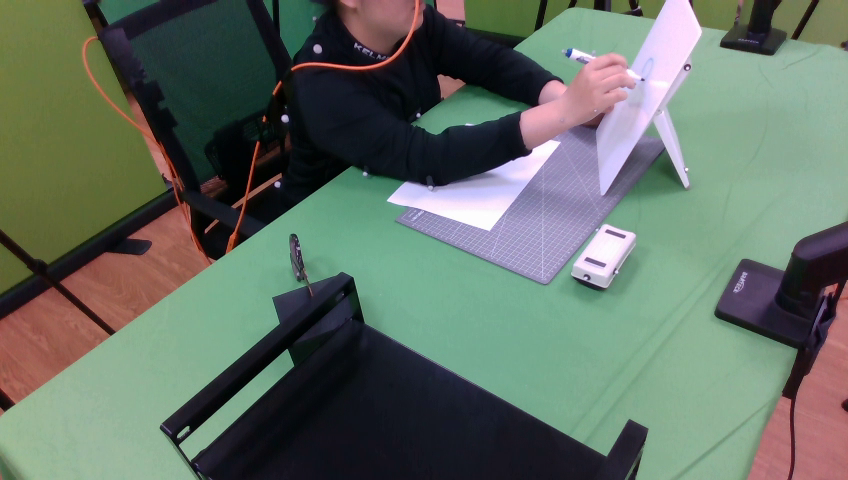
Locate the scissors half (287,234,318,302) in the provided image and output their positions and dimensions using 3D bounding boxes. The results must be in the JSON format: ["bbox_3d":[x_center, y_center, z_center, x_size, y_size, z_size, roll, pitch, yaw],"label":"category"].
[{"bbox_3d":[-0.178,0.040,0.885,0.013,0.040,0.173,-12,36,-20],"label":"scissors half"}]

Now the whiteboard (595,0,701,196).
[{"bbox_3d":[0.421,-0.227,1.010,0.144,0.305,0.216,18,42,-2],"label":"whiteboard"}]

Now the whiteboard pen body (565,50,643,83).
[{"bbox_3d":[0.295,-0.280,0.983,0.141,0.017,0.017,16,40,-11],"label":"whiteboard pen body"}]

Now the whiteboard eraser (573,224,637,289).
[{"bbox_3d":[0.267,0.025,0.891,0.055,0.042,0.113,19,47,31],"label":"whiteboard eraser"}]

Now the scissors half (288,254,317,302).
[{"bbox_3d":[-0.178,0.058,0.894,0.013,0.040,0.174,-16,21,-17],"label":"scissors half"}]

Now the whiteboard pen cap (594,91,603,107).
[{"bbox_3d":[0.364,-0.294,1.262,0.018,0.033,0.018,-5,41,5],"label":"whiteboard pen cap"}]
